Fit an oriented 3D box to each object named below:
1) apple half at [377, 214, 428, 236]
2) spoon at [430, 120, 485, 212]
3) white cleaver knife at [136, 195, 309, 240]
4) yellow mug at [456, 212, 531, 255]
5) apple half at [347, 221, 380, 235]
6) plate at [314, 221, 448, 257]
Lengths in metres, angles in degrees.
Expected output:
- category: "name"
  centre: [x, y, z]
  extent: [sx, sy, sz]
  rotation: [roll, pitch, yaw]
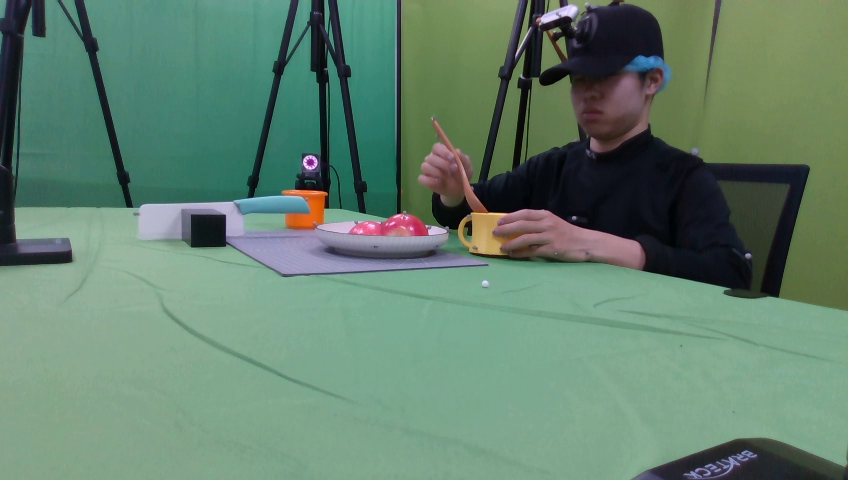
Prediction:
- category: "apple half"
  centre: [-0.034, -0.013, 0.924]
  extent: [0.080, 0.053, 0.075]
  rotation: [5, 10, 16]
- category: "spoon"
  centre: [0.057, -0.115, 0.992]
  extent: [0.022, 0.193, 0.041]
  rotation: [-22, -12, -7]
- category: "white cleaver knife"
  centre: [-0.337, -0.039, 1.037]
  extent: [0.288, 0.066, 0.021]
  rotation: [-6, 15, -29]
- category: "yellow mug"
  centre: [0.109, -0.012, 0.992]
  extent: [0.130, 0.064, 0.100]
  rotation: [4, 2, 34]
- category: "apple half"
  centre: [-0.089, -0.014, 0.985]
  extent: [0.081, 0.033, 0.081]
  rotation: [5, 6, 0]
- category: "plate"
  centre: [-0.066, -0.002, 0.948]
  extent: [0.209, 0.038, 0.209]
  rotation: [3, 7, 0]
